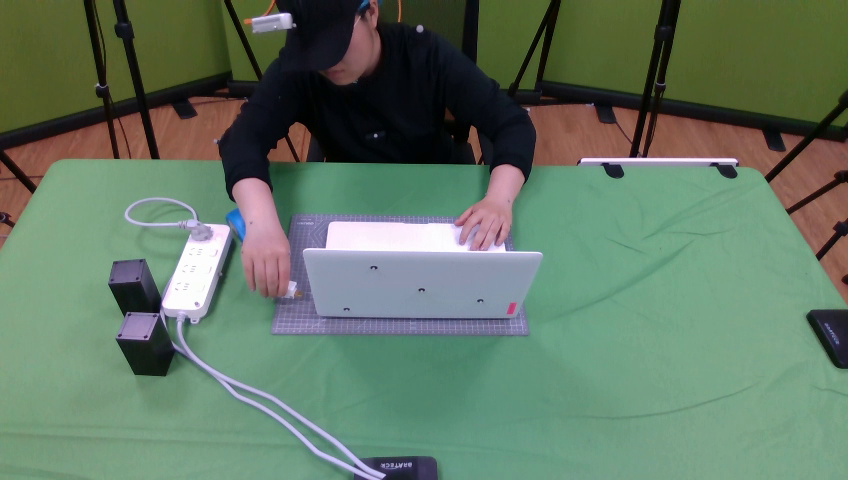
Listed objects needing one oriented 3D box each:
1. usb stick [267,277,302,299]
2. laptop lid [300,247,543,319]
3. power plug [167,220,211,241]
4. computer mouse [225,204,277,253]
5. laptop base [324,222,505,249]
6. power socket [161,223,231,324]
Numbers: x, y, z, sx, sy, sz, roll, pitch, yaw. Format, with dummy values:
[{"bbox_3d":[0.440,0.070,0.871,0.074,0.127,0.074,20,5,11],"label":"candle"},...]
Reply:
[{"bbox_3d":[-0.242,0.086,1.060,0.059,0.027,0.021,14,42,1],"label":"usb stick"},{"bbox_3d":[-0.007,0.075,0.963,0.357,0.242,0.013,2,58,-4],"label":"laptop lid"},{"bbox_3d":[-0.438,-0.017,1.143,0.072,0.053,0.035,9,43,6],"label":"power plug"},{"bbox_3d":[-0.339,-0.026,1.186,0.063,0.041,0.116,-25,57,-29],"label":"computer mouse"},{"bbox_3d":[-0.016,0.054,1.146,0.354,0.023,0.234,1,43,-3],"label":"laptop base"},{"bbox_3d":[-0.412,0.051,1.106,0.072,0.033,0.225,4,46,-2],"label":"power socket"}]
